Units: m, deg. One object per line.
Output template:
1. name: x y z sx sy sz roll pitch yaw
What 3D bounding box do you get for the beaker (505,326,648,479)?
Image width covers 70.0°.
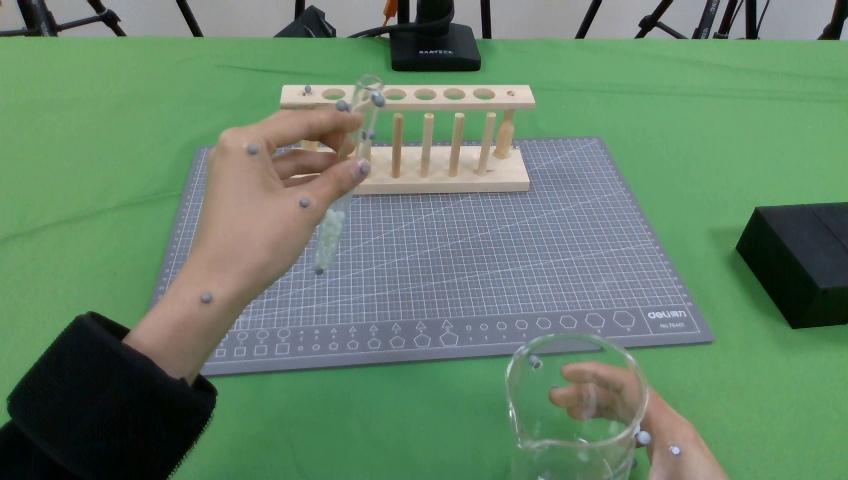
1. beaker: 0.082 0.113 0.349 0.084 0.101 0.073 -36 47 -29

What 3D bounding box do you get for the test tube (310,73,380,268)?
1. test tube: -0.052 -0.035 0.378 0.017 0.151 0.017 12 42 -11

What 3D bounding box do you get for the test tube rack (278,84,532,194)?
1. test tube rack: -0.017 -0.101 0.602 0.243 0.086 0.066 -1 43 -5
